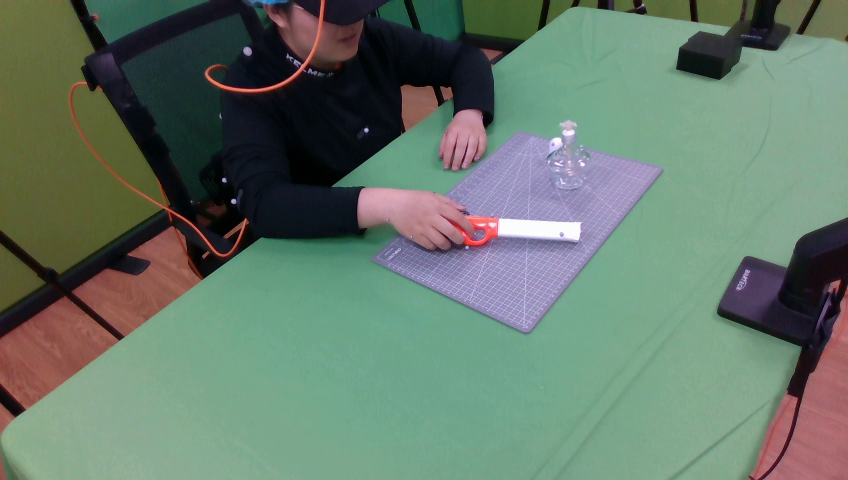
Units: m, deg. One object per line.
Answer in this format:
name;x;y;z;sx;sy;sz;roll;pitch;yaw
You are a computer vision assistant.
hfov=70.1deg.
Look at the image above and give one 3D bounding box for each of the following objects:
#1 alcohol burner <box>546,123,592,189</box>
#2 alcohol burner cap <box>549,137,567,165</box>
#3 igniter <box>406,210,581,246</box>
alcohol burner;0.248;-0.147;1.035;0.078;0.120;0.077;-7;41;6
alcohol burner cap;0.247;-0.166;1.114;0.034;0.048;0.033;-6;40;5
igniter;0.108;-0.018;0.962;0.276;0.025;0.057;2;78;9
